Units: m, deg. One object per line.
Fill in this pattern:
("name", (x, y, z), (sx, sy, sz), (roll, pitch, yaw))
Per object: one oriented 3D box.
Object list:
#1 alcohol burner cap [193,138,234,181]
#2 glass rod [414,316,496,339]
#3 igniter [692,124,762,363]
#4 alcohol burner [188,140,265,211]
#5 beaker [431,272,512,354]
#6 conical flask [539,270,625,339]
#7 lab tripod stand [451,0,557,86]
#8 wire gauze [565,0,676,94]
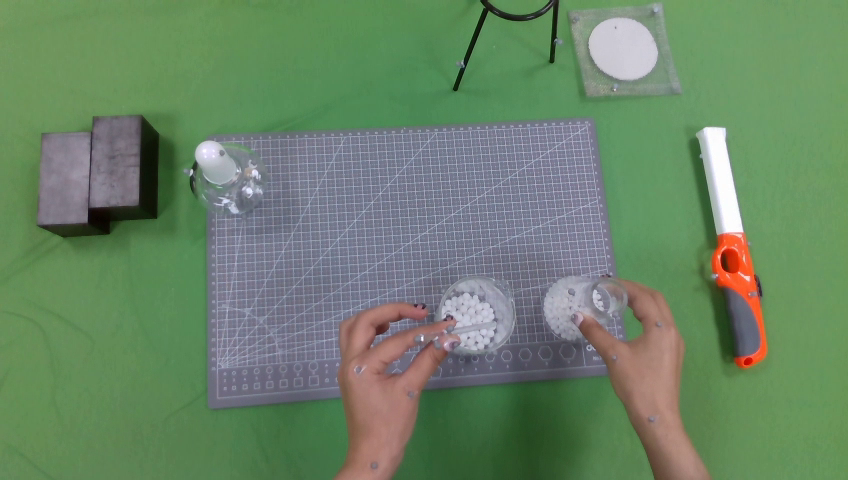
("alcohol burner cap", (-0.205, -0.081, 0.585), (0.034, 0.048, 0.033), (2, 70, -4))
("glass rod", (0.034, 0.076, 0.534), (0.008, 0.201, 0.008), (-1, 86, 23))
("igniter", (0.346, -0.001, 0.693), (0.057, 0.025, 0.275), (-1, 78, -16))
("alcohol burner", (-0.206, -0.071, 0.620), (0.078, 0.119, 0.077), (0, 78, -2))
("beaker", (0.046, 0.075, 0.615), (0.074, 0.100, 0.084), (43, 78, 6))
("conical flask", (0.165, 0.060, 0.614), (0.075, 0.122, 0.075), (0, 78, -2))
("lab tripod stand", (0.086, -0.249, 0.672), (0.148, 0.132, 0.148), (1, 80, -4))
("wire gauze", (0.242, -0.236, 0.745), (0.125, 0.011, 0.121), (-5, 79, -7))
